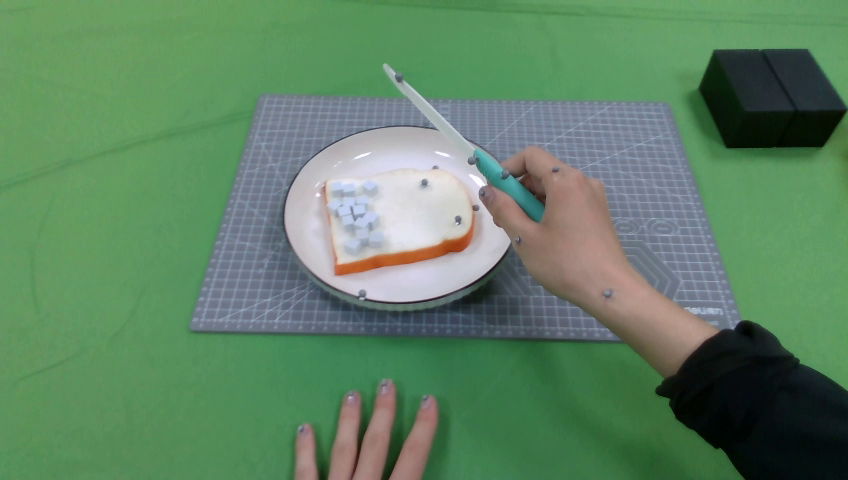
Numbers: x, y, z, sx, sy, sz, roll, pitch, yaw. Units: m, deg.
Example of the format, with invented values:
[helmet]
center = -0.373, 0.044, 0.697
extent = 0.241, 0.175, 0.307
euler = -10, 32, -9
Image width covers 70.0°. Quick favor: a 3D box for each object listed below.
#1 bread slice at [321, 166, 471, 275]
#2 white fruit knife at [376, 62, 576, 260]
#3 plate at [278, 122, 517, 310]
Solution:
[bread slice]
center = -0.025, -0.026, 0.545
extent = 0.132, 0.019, 0.103
euler = -11, 54, -8
[white fruit knife]
center = 0.039, -0.060, 0.454
extent = 0.207, 0.027, 0.016
euler = 43, 74, -1
[plate]
center = -0.023, -0.023, 0.540
extent = 0.209, 0.038, 0.207
euler = 1, 53, 0
